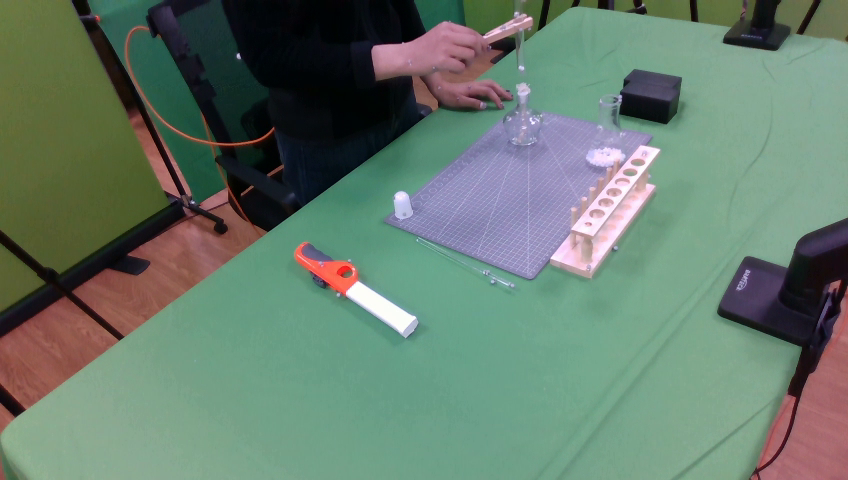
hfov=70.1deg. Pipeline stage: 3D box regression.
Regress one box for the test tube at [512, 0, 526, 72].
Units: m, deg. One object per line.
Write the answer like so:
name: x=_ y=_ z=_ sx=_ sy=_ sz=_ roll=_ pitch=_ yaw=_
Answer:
test tube: x=0.165 y=-0.358 z=1.048 sx=0.017 sy=0.151 sz=0.017 roll=-7 pitch=46 yaw=8

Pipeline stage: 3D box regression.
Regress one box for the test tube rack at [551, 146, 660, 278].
test tube rack: x=0.286 y=-0.053 z=0.944 sx=0.066 sy=0.085 sz=0.243 roll=21 pitch=49 yaw=32

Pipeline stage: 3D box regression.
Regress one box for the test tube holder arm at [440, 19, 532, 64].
test tube holder arm: x=0.106 y=-0.335 z=1.017 sx=0.179 sy=0.015 sz=0.013 roll=-28 pitch=44 yaw=-14

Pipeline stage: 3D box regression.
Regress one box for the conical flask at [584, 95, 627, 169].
conical flask: x=0.324 y=-0.192 z=1.066 sx=0.075 sy=0.122 sz=0.075 roll=-6 pitch=40 yaw=5

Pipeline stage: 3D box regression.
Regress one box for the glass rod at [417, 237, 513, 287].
glass rod: x=0.059 y=0.033 z=0.945 sx=0.198 sy=0.008 sz=0.008 roll=26 pitch=52 yaw=38

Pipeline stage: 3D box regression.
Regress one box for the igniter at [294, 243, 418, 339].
igniter: x=-0.114 y=0.070 z=0.919 sx=0.274 sy=0.025 sz=0.057 roll=29 pitch=63 yaw=37

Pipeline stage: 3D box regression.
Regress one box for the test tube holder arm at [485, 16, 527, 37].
test tube holder arm: x=0.141 y=-0.359 z=1.034 sx=0.088 sy=0.015 sz=0.010 roll=-33 pitch=45 yaw=-19

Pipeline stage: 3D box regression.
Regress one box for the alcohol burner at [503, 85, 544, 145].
alcohol burner: x=0.191 y=-0.243 z=1.160 sx=0.078 sy=0.119 sz=0.077 roll=-4 pitch=40 yaw=4

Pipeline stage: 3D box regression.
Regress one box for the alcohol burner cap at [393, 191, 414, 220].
alcohol burner cap: x=-0.037 y=-0.062 z=1.045 sx=0.034 sy=0.048 sz=0.033 roll=-5 pitch=40 yaw=5
